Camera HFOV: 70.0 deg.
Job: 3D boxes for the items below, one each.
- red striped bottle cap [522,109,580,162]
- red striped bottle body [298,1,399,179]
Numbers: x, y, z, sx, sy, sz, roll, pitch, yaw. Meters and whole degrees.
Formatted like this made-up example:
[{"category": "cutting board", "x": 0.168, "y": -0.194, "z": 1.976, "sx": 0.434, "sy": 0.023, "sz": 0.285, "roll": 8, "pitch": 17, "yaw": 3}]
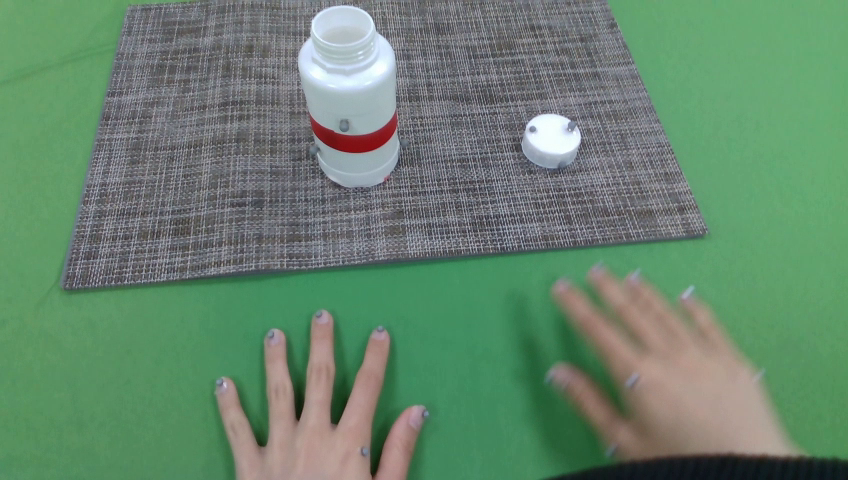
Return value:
[{"category": "red striped bottle cap", "x": 0.099, "y": -0.082, "z": 0.474, "sx": 0.044, "sy": 0.018, "sz": 0.044, "roll": 1, "pitch": 54, "yaw": -1}, {"category": "red striped bottle body", "x": -0.050, "y": -0.102, "z": 0.418, "sx": 0.063, "sy": 0.120, "sz": 0.062, "roll": 1, "pitch": 58, "yaw": 0}]
